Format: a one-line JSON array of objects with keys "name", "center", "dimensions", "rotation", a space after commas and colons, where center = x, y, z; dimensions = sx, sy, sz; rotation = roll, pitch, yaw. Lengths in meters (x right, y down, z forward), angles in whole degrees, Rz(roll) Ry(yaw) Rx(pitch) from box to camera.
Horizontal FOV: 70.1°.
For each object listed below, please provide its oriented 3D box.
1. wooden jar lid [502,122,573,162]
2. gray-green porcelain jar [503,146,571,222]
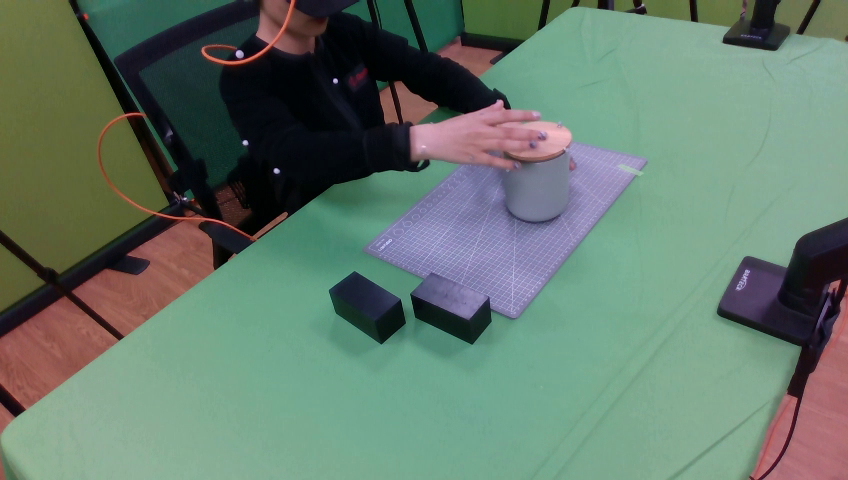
[{"name": "wooden jar lid", "center": [0.176, -0.150, 0.940], "dimensions": [0.108, 0.021, 0.108], "rotation": [-6, 39, 5]}, {"name": "gray-green porcelain jar", "center": [0.184, -0.102, 0.983], "dimensions": [0.106, 0.127, 0.105], "rotation": [-5, 40, 5]}]
